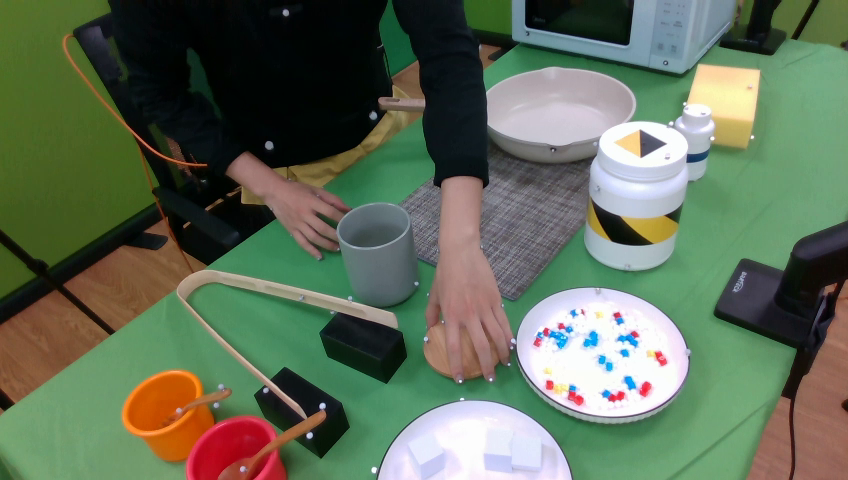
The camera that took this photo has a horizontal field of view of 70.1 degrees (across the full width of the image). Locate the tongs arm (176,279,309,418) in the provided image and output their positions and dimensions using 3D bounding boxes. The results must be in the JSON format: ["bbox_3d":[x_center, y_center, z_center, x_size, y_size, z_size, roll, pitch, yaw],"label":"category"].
[{"bbox_3d":[-0.254,0.133,0.801,0.028,0.028,0.384,-41,41,-23],"label":"tongs arm"}]

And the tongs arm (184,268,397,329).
[{"bbox_3d":[-0.202,0.084,0.848,0.382,0.027,0.051,11,45,35],"label":"tongs arm"}]

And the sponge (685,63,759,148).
[{"bbox_3d":[0.569,-0.263,1.164,0.117,0.061,0.207,13,45,22],"label":"sponge"}]

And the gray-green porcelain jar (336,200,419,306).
[{"bbox_3d":[-0.063,0.023,0.872,0.106,0.127,0.105,-4,41,4],"label":"gray-green porcelain jar"}]

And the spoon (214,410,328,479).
[{"bbox_3d":[-0.165,0.224,0.639,0.193,0.022,0.041,-40,32,29],"label":"spoon"}]

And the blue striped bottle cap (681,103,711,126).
[{"bbox_3d":[0.446,-0.205,0.990,0.044,0.021,0.044,-5,43,5],"label":"blue striped bottle cap"}]

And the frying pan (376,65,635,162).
[{"bbox_3d":[0.150,-0.254,1.177,0.488,0.103,0.305,6,41,3],"label":"frying pan"}]

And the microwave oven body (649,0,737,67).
[{"bbox_3d":[0.475,-0.602,1.411,0.438,0.261,0.327,23,50,32],"label":"microwave oven body"}]

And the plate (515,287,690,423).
[{"bbox_3d":[0.221,0.144,0.760,0.209,0.038,0.208,-4,40,4],"label":"plate"}]

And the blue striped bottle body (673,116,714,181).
[{"bbox_3d":[0.451,-0.166,1.023,0.063,0.121,0.063,-5,41,4],"label":"blue striped bottle body"}]

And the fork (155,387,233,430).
[{"bbox_3d":[-0.264,0.191,0.688,0.206,0.018,0.028,-33,7,44],"label":"fork"}]

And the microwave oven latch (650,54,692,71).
[{"bbox_3d":[0.531,-0.386,1.301,0.078,0.029,0.030,25,51,33],"label":"microwave oven latch"}]

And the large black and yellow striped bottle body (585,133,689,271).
[{"bbox_3d":[0.305,-0.061,0.874,0.131,0.185,0.130,-4,41,4],"label":"large black and yellow striped bottle body"}]

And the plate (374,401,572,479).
[{"bbox_3d":[0.051,0.268,0.639,0.207,0.039,0.206,-3,40,3],"label":"plate"}]

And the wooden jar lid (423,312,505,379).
[{"bbox_3d":[0.053,0.142,0.800,0.108,0.021,0.108,-4,39,4],"label":"wooden jar lid"}]

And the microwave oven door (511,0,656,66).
[{"bbox_3d":[0.350,-0.539,1.348,0.353,0.245,0.039,24,50,31],"label":"microwave oven door"}]

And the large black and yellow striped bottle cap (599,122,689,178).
[{"bbox_3d":[0.297,-0.123,0.818,0.115,0.019,0.114,-5,40,4],"label":"large black and yellow striped bottle cap"}]
